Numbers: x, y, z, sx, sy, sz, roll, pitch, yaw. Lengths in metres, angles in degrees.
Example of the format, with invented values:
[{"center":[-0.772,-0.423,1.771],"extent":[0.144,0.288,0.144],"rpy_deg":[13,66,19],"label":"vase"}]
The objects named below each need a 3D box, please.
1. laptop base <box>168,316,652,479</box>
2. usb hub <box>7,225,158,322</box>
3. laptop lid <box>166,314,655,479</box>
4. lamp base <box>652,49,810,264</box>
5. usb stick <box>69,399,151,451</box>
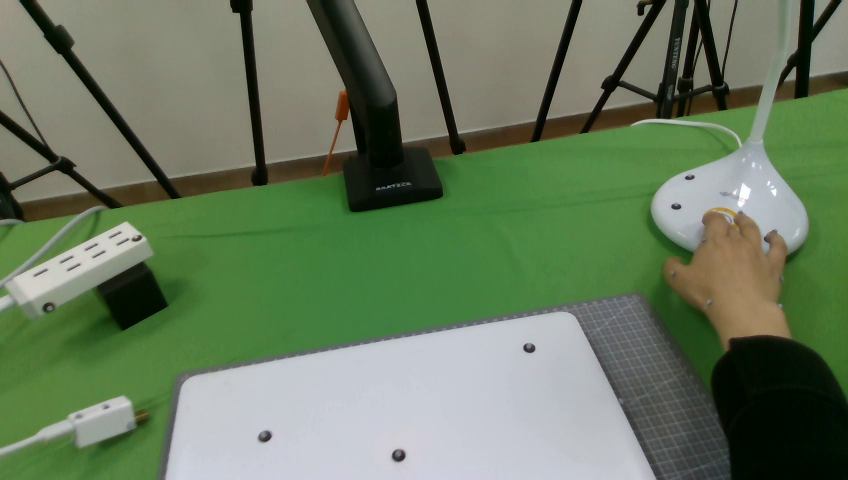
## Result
[{"center":[-0.017,0.173,0.461],"extent":[0.355,0.023,0.233],"rpy_deg":[-9,42,-5],"label":"laptop base"},{"center":[-0.334,0.031,0.599],"extent":[0.049,0.025,0.125],"rpy_deg":[30,50,35],"label":"usb hub"},{"center":[-0.017,0.166,0.452],"extent":[0.357,0.013,0.239],"rpy_deg":[-8,40,-3],"label":"laptop lid"},{"center":[0.335,-0.094,0.632],"extent":[0.159,0.182,0.178],"rpy_deg":[16,41,26],"label":"lamp base"},{"center":[-0.260,0.151,0.506],"extent":[0.059,0.027,0.021],"rpy_deg":[-10,12,-44],"label":"usb stick"}]
